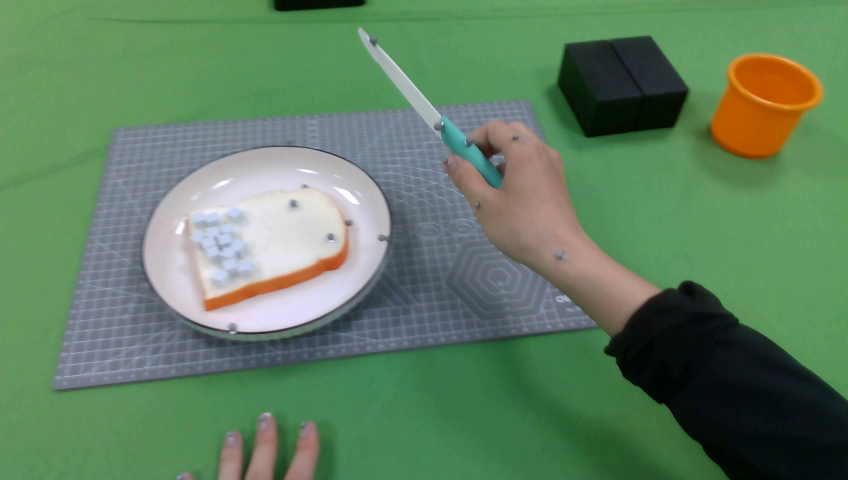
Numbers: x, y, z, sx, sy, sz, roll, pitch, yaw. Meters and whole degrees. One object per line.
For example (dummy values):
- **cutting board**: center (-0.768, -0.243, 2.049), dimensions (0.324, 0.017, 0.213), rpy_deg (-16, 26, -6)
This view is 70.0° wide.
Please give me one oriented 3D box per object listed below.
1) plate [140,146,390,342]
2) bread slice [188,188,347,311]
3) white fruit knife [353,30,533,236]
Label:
- **plate**: center (-0.133, 0.001, 0.527), dimensions (0.209, 0.038, 0.207), rpy_deg (2, 52, -2)
- **bread slice**: center (-0.136, -0.002, 0.532), dimensions (0.132, 0.019, 0.103), rpy_deg (-18, 55, -15)
- **white fruit knife**: center (0.014, -0.084, 0.469), dimensions (0.207, 0.027, 0.016), rpy_deg (48, 65, 0)
